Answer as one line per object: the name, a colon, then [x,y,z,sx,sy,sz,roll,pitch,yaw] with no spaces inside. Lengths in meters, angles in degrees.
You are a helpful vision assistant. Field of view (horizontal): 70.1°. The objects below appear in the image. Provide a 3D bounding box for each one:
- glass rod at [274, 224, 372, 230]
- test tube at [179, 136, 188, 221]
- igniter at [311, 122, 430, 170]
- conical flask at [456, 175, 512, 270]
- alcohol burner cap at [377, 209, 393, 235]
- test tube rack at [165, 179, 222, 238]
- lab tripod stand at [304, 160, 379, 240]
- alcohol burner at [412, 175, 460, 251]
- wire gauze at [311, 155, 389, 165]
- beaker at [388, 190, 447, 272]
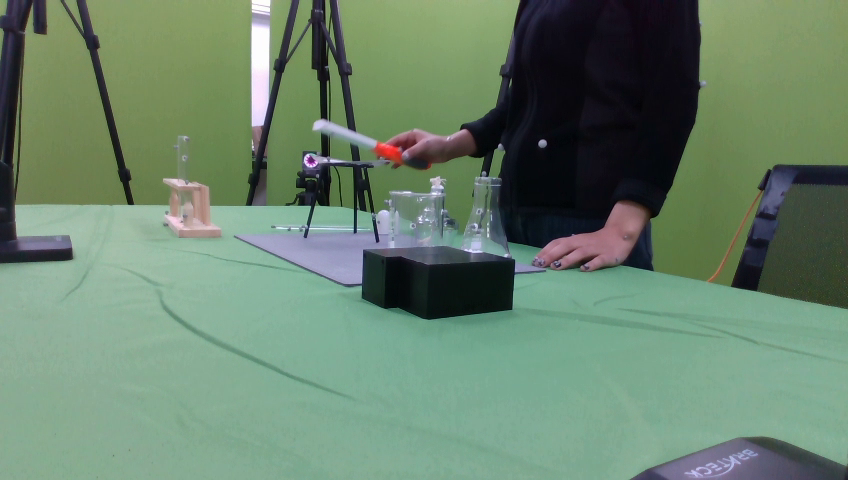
glass rod: [-0.193,-0.024,1.176,0.201,0.008,0.008,1,6,-31]
test tube: [-0.425,-0.108,1.070,0.017,0.150,0.017,4,9,0]
igniter: [-0.100,-0.186,1.225,0.278,0.025,0.057,14,-7,-39]
conical flask: [0.082,-0.025,0.801,0.075,0.122,0.075,2,7,0]
alcohol burner cap: [-0.076,-0.035,1.145,0.034,0.048,0.034,2,7,0]
test tube rack: [-0.423,-0.062,1.098,0.067,0.085,0.241,-2,9,-28]
lab tripod stand: [-0.131,-0.071,1.046,0.148,0.131,0.148,4,7,0]
alcohol burner: [0.020,-0.043,0.958,0.078,0.119,0.078,3,9,0]
wire gauze: [-0.128,-0.137,1.042,0.122,0.011,0.124,1,8,-18]
beaker: [-0.010,-0.013,0.771,0.074,0.100,0.084,3,7,4]
